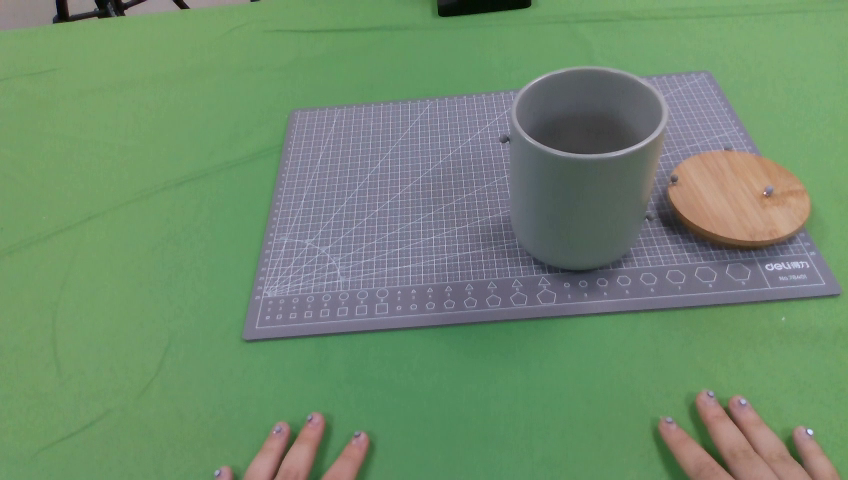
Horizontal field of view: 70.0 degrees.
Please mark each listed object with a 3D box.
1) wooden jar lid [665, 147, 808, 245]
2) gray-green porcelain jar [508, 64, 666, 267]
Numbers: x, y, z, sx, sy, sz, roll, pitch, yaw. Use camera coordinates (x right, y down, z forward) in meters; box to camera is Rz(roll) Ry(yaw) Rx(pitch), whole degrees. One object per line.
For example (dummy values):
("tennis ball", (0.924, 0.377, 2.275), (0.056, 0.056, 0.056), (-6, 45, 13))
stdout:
("wooden jar lid", (0.255, -0.035, 0.502), (0.108, 0.021, 0.107), (-4, 47, 5))
("gray-green porcelain jar", (0.117, -0.050, 0.460), (0.106, 0.128, 0.105), (-4, 48, 5))
